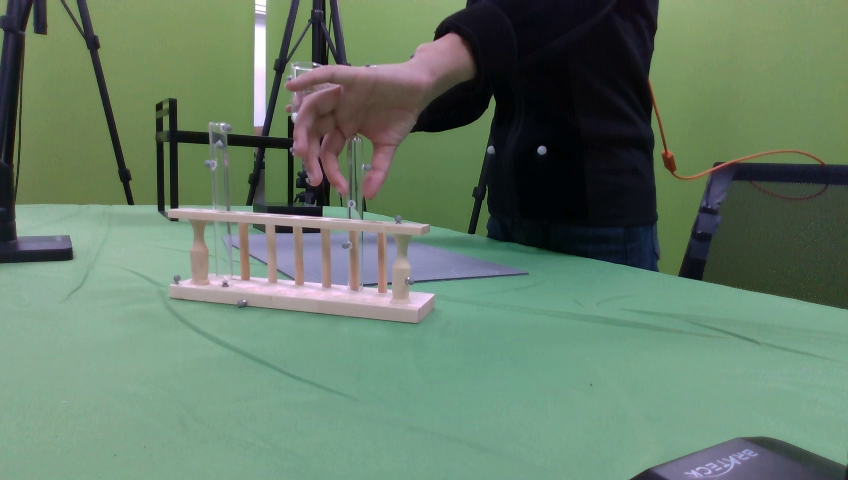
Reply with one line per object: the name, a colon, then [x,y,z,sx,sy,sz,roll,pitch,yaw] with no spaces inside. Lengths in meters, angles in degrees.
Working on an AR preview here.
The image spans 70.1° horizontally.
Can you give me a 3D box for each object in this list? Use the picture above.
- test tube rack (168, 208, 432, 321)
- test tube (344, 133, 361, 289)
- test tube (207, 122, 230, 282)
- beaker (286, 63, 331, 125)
test tube rack: [-0.116,0.018,0.573,0.242,0.085,0.067,4,7,13]
test tube: [-0.069,-0.025,0.575,0.017,0.150,0.017,1,11,0]
test tube: [-0.192,-0.034,0.564,0.017,0.150,0.017,1,11,0]
beaker: [-0.196,-0.251,1.047,0.083,0.100,0.074,8,12,42]
